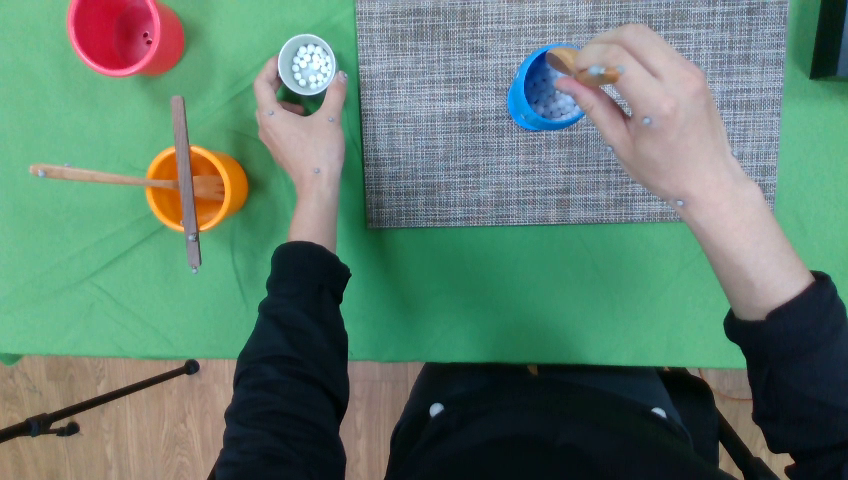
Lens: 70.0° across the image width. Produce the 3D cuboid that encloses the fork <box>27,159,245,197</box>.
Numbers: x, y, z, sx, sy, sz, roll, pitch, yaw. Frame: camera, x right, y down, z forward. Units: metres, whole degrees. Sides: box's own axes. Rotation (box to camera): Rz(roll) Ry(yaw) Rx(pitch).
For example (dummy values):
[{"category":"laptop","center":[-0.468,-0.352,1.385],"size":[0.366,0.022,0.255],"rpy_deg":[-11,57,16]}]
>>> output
[{"category":"fork","center":[-0.289,-0.065,0.629],"size":[0.209,0.018,0.028],"rpy_deg":[3,111,-41]}]

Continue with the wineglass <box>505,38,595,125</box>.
[{"category":"wineglass","center":[0.113,-0.144,0.573],"size":[0.073,0.172,0.074],"rpy_deg":[1,100,4]}]

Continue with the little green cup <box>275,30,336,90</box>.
[{"category":"little green cup","center":[-0.124,-0.191,0.651],"size":[0.061,0.038,0.062],"rpy_deg":[1,101,6]}]

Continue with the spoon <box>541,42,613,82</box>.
[{"category":"spoon","center":[0.107,-0.121,0.420],"size":[0.042,0.192,0.022],"rpy_deg":[25,112,-4]}]

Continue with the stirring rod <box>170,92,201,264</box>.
[{"category":"stirring rod","center":[-0.246,-0.062,0.625],"size":[0.014,0.006,0.176],"rpy_deg":[-2,100,4]}]
